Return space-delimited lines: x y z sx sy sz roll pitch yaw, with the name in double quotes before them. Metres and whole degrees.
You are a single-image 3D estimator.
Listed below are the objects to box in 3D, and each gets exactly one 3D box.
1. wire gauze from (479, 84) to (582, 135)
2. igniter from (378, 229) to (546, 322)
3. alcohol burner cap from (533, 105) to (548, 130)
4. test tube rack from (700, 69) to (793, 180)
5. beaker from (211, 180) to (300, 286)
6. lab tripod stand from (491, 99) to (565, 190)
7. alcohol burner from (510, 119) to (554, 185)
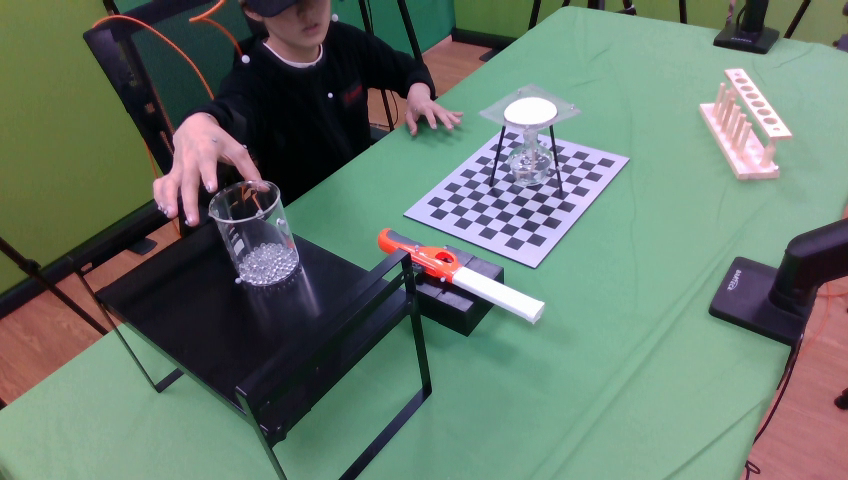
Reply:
"wire gauze" 0.176 -0.216 1.006 0.125 0.011 0.120 -29 46 -22
"igniter" 0.041 0.043 0.843 0.274 0.025 0.057 24 47 29
"alcohol burner cap" 0.235 -0.251 1.217 0.034 0.048 0.033 -5 41 5
"test tube rack" 0.572 -0.215 1.089 0.066 0.085 0.241 -3 41 7
"beaker" -0.183 -0.007 0.674 0.074 0.101 0.083 -1 40 7
"lab tripod stand" 0.184 -0.163 1.046 0.148 0.132 0.147 -5 43 5
"alcohol burner" 0.188 -0.157 1.054 0.078 0.119 0.077 -4 39 4
